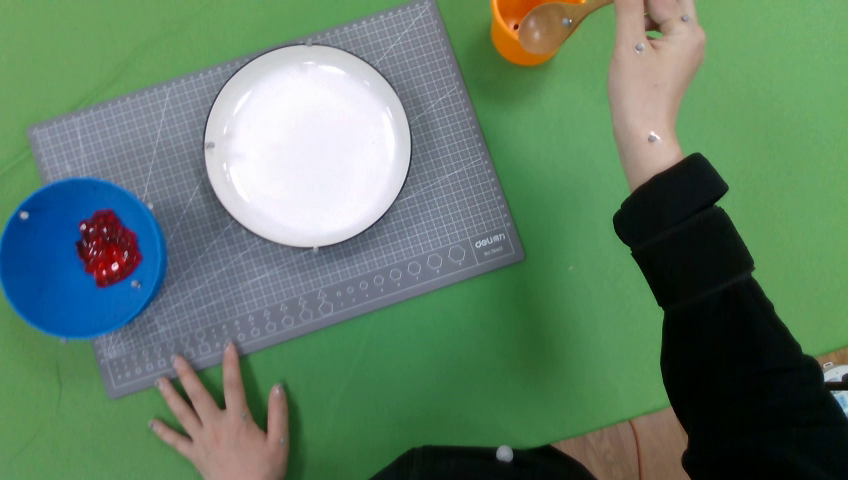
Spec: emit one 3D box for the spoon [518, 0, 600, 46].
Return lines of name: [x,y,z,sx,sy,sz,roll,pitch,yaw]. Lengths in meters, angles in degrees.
spoon: [0.139,-0.187,0.460,0.022,0.192,0.041,-9,96,-28]

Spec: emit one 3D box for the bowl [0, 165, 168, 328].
bowl: [-0.313,0.008,0.587,0.151,0.077,0.151,0,87,-1]

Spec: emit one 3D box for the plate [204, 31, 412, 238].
plate: [-0.115,-0.105,0.617,0.209,0.038,0.208,0,87,0]
